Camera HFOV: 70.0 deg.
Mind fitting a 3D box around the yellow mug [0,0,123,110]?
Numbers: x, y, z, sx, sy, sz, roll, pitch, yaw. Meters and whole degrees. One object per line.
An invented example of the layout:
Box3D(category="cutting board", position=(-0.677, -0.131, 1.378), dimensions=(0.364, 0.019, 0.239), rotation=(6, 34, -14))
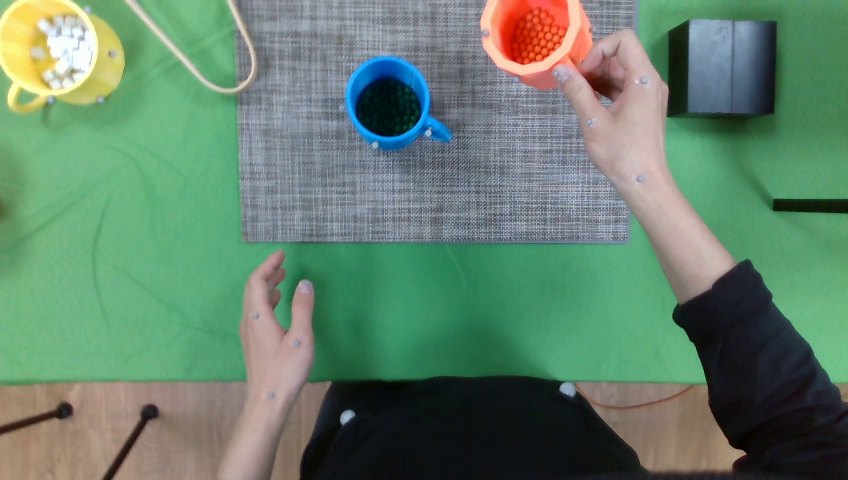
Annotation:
Box3D(category="yellow mug", position=(-0.388, -0.188, 0.629), dimensions=(0.100, 0.064, 0.131), rotation=(38, 93, -7))

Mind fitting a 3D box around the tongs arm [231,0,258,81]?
Box3D(category="tongs arm", position=(-0.257, -0.353, 0.620), dimensions=(0.028, 0.027, 0.389), rotation=(-26, 104, -10))

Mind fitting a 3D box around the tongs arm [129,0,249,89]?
Box3D(category="tongs arm", position=(-0.327, -0.307, 0.616), dimensions=(0.051, 0.026, 0.387), rotation=(-39, 104, -3))

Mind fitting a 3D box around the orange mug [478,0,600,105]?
Box3D(category="orange mug", position=(0.114, -0.179, 0.556), dimensions=(0.083, 0.101, 0.125), rotation=(-40, 77, 21))

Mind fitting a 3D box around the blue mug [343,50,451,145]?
Box3D(category="blue mug", position=(-0.025, -0.138, 0.637), dimensions=(0.117, 0.105, 0.082), rotation=(26, 93, -6))
